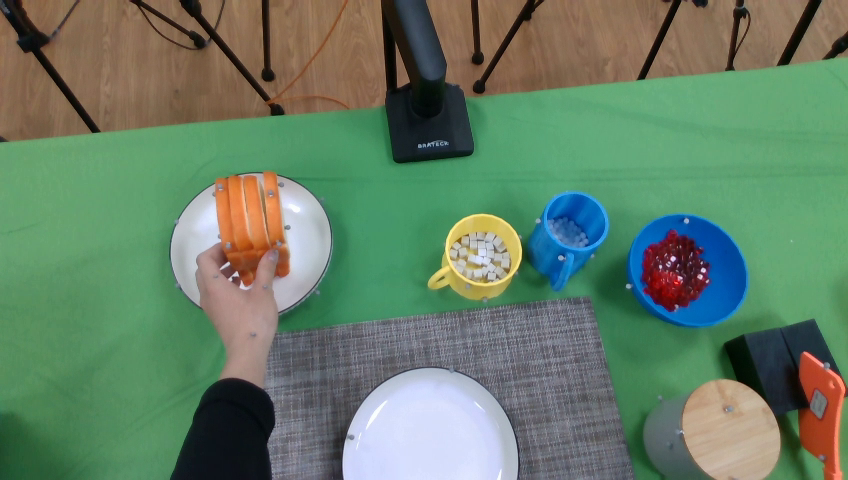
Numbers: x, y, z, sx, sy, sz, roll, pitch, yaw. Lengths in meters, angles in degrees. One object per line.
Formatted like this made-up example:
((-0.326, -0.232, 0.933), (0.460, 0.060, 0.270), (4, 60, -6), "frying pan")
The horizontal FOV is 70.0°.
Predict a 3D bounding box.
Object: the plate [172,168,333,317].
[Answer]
((-0.224, 0.004, 0.806), (0.208, 0.039, 0.206), (1, 70, -3), "plate")

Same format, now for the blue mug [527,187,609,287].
((0.183, 0.005, 0.789), (0.082, 0.106, 0.116), (12, 69, 2), "blue mug")

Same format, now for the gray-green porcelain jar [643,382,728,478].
((0.321, 0.220, 0.702), (0.106, 0.127, 0.105), (1, 69, -2), "gray-green porcelain jar")

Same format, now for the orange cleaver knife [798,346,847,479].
((0.479, 0.233, 0.728), (0.012, 0.077, 0.212), (-10, 100, -5), "orange cleaver knife")

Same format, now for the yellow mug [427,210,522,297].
((0.062, 0.026, 0.796), (0.131, 0.064, 0.099), (-28, 72, -11), "yellow mug")

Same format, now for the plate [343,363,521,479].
((0.010, 0.252, 0.718), (0.209, 0.038, 0.207), (1, 69, -2), "plate")

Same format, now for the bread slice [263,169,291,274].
((-0.184, -0.026, 0.761), (0.019, 0.132, 0.104), (-8, 71, -12), "bread slice")

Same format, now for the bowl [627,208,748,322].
((0.332, 0.042, 0.796), (0.151, 0.077, 0.150), (1, 69, -2), "bowl")

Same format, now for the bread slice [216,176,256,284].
((-0.234, -0.019, 0.755), (0.018, 0.135, 0.106), (-10, 66, -8), "bread slice")

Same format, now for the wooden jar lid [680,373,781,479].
((0.322, 0.197, 0.644), (0.108, 0.021, 0.107), (2, 70, -4), "wooden jar lid")

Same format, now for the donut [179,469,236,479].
((-0.249, 0.310, 0.684), (0.099, 0.048, 0.098), (2, 69, -4), "donut")
